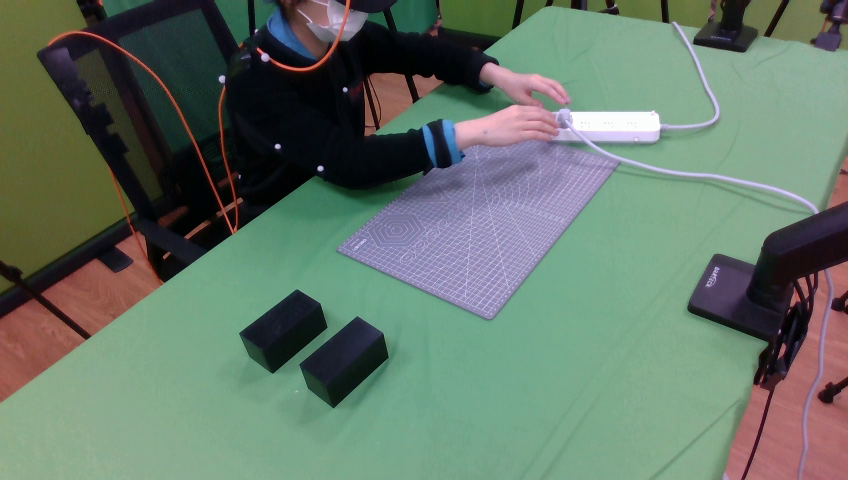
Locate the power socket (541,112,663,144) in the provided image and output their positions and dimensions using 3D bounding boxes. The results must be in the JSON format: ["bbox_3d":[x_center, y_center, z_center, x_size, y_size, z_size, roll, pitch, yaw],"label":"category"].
[{"bbox_3d":[0.341,-0.217,1.164,0.226,0.033,0.072,4,43,12],"label":"power socket"}]

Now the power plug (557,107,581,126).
[{"bbox_3d":[0.286,-0.238,1.162,0.073,0.035,0.052,-13,30,-42],"label":"power plug"}]
